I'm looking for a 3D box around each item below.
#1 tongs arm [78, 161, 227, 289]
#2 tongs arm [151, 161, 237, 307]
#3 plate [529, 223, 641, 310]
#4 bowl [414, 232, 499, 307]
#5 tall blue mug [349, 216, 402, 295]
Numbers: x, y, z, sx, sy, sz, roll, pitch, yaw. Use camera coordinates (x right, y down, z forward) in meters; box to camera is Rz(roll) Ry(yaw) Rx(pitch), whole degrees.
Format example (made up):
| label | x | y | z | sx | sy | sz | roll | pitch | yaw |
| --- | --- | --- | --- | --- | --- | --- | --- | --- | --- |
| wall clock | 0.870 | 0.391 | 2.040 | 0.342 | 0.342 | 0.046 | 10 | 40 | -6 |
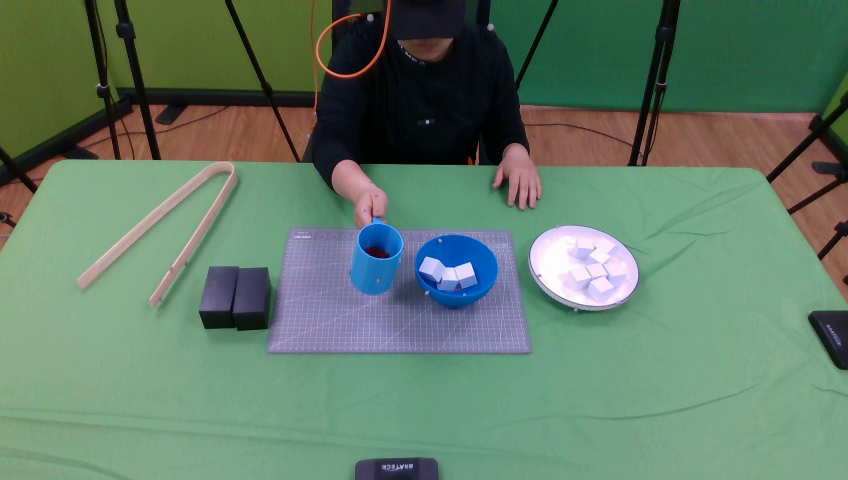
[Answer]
| label | x | y | z | sx | sy | sz | roll | pitch | yaw |
| --- | --- | --- | --- | --- | --- | --- | --- | --- | --- |
| tongs arm | -0.524 | -0.042 | 1.196 | 0.028 | 0.028 | 0.386 | 15 | 47 | 22 |
| tongs arm | -0.447 | -0.026 | 1.180 | 0.051 | 0.027 | 0.383 | 8 | 46 | 10 |
| plate | 0.303 | 0.053 | 1.156 | 0.209 | 0.038 | 0.208 | 2 | 46 | -1 |
| bowl | 0.056 | 0.067 | 1.093 | 0.151 | 0.077 | 0.150 | 2 | 46 | -2 |
| tall blue mug | -0.090 | 0.021 | 1.024 | 0.078 | 0.108 | 0.106 | -21 | 61 | -27 |
